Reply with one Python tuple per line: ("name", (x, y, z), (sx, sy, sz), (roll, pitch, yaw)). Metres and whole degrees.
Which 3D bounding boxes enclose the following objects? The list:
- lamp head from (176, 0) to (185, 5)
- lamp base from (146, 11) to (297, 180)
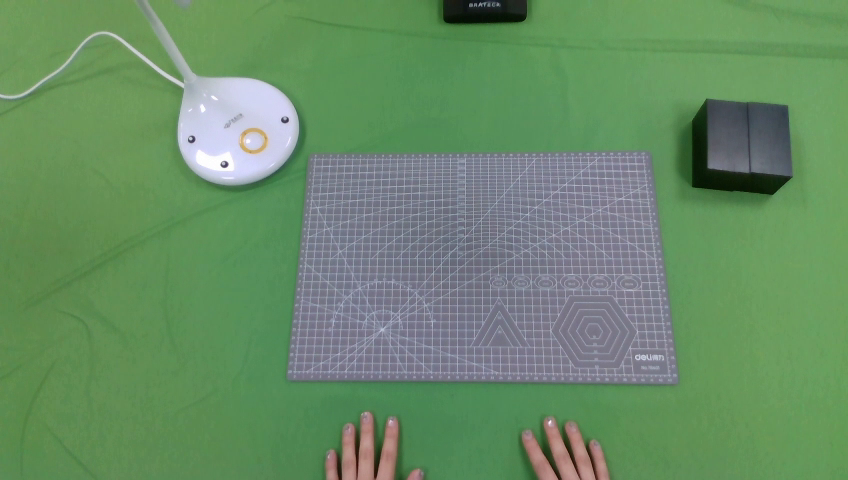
("lamp head", (-0.209, -0.266, 0.471), (0.124, 0.112, 0.112), (34, 70, -27))
("lamp base", (-0.265, -0.187, 0.744), (0.178, 0.181, 0.160), (33, 74, 16))
